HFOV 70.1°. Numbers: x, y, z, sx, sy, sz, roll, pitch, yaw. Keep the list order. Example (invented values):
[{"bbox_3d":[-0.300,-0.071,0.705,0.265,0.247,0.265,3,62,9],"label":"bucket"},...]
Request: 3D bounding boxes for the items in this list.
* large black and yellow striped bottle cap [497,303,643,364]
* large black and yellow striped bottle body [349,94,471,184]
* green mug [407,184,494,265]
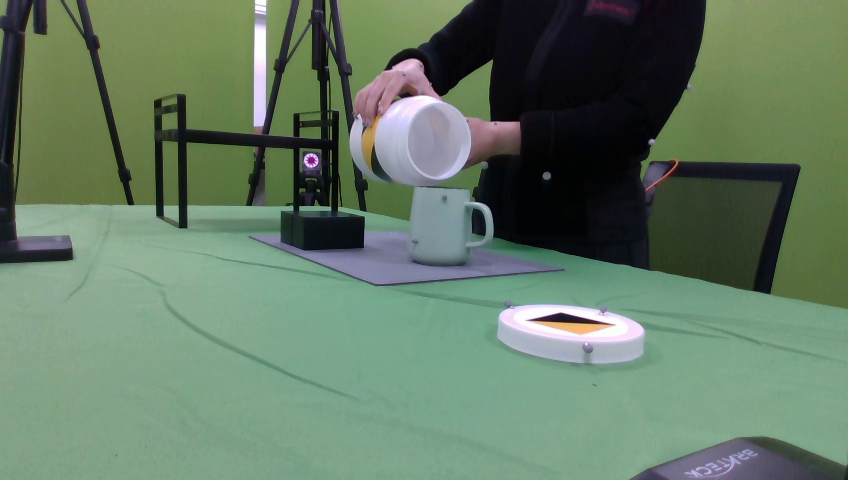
[{"bbox_3d":[0.117,0.072,0.486,0.115,0.019,0.115,1,8,0],"label":"large black and yellow striped bottle cap"},{"bbox_3d":[-0.022,-0.151,0.912,0.131,0.130,0.183,-2,9,-29],"label":"large black and yellow striped bottle body"},{"bbox_3d":[0.038,-0.021,0.827,0.125,0.105,0.093,7,8,30],"label":"green mug"}]
